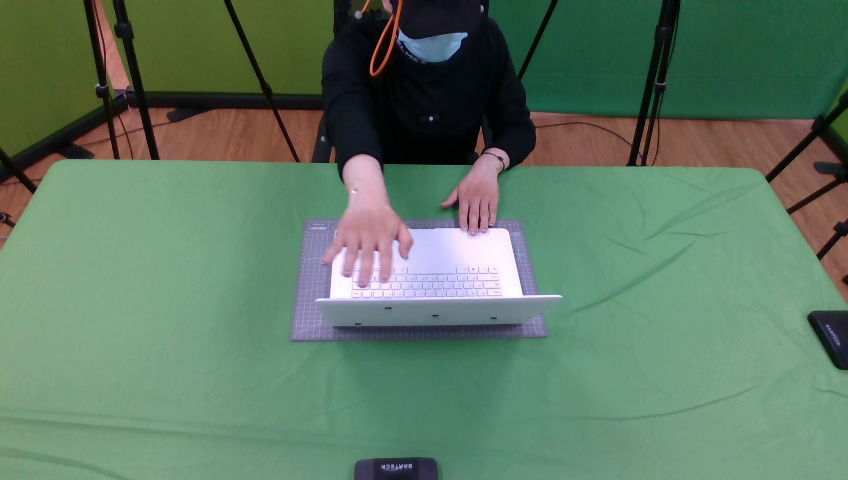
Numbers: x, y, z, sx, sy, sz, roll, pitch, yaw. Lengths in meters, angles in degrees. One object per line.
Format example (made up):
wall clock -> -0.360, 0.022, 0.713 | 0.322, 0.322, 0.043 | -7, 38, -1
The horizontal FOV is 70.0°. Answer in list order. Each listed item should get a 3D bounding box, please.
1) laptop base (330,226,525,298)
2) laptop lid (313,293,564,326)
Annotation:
laptop base -> 0.005, 0.061, 1.136 | 0.355, 0.023, 0.234 | 0, 43, -4
laptop lid -> 0.017, 0.112, 0.945 | 0.357, 0.242, 0.013 | 0, 74, -5
